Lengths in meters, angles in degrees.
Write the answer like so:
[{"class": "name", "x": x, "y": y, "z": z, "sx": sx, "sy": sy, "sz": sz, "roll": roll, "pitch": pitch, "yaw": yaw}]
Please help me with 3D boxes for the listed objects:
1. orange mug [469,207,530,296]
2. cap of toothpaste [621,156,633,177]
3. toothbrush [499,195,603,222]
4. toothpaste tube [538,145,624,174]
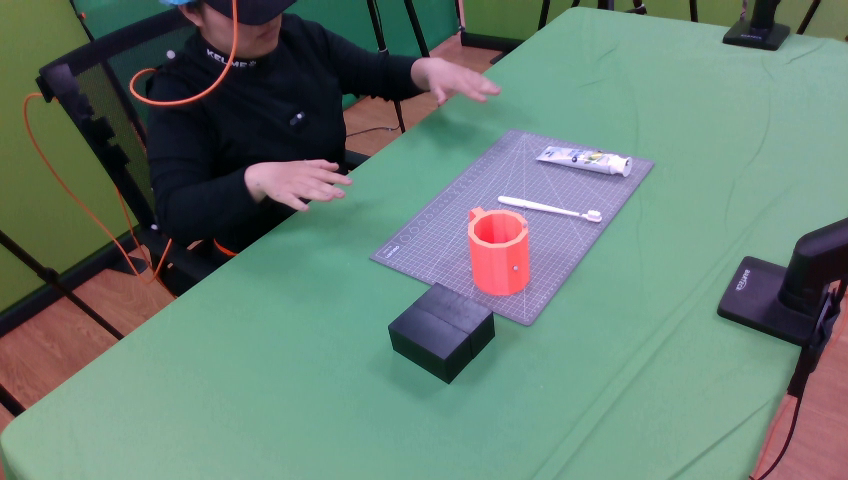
[{"class": "orange mug", "x": 0.104, "y": 0.008, "z": 0.894, "sx": 0.084, "sy": 0.101, "sz": 0.125, "roll": -22, "pitch": 46, "yaw": -14}, {"class": "cap of toothpaste", "x": 0.352, "y": -0.128, "z": 1.051, "sx": 0.011, "sy": 0.037, "sz": 0.037, "roll": 18, "pitch": 48, "yaw": 35}, {"class": "toothbrush", "x": 0.209, "y": -0.055, "z": 1.010, "sx": 0.180, "sy": 0.017, "sz": 0.014, "roll": 14, "pitch": 62, "yaw": 27}, {"class": "toothpaste tube", "x": 0.292, "y": -0.148, "z": 1.097, "sx": 0.164, "sy": 0.034, "sz": 0.055, "roll": 17, "pitch": 41, "yaw": 34}]
